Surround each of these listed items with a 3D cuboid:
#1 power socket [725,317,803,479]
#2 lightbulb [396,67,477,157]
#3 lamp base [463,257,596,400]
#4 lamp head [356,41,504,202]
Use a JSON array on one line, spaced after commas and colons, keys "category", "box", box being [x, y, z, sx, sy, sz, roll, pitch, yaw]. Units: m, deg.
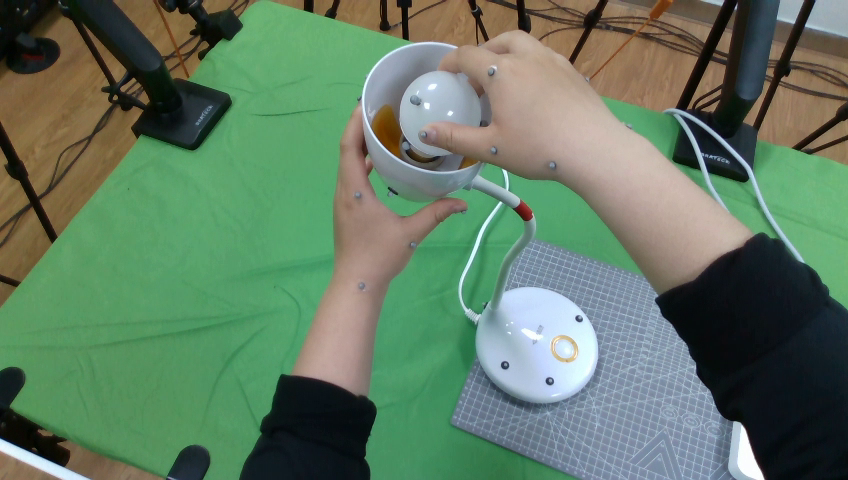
[{"category": "power socket", "box": [0.426, 0.198, 0.756, 0.072, 0.033, 0.225, 19, 60, 9]}, {"category": "lightbulb", "box": [0.005, -0.090, 0.466, 0.060, 0.108, 0.059, 2, 77, -10]}, {"category": "lamp base", "box": [0.131, 0.088, 0.730, 0.179, 0.182, 0.159, 13, 60, 11]}, {"category": "lamp head", "box": [0.002, -0.080, 0.497, 0.112, 0.123, 0.111, 1, 68, -3]}]
